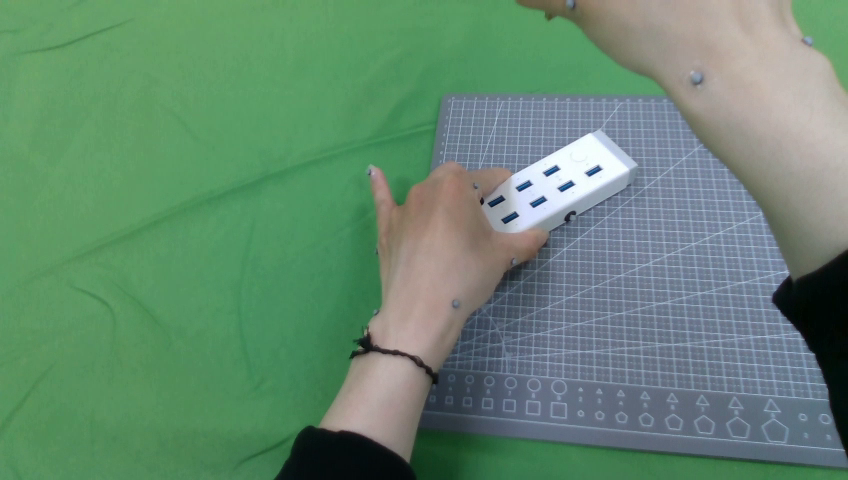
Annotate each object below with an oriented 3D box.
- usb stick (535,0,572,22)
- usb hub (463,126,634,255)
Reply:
[{"bbox_3d":[0.067,-0.140,0.317,0.021,0.059,0.027,-33,71,-3],"label":"usb stick"},{"bbox_3d":[0.094,-0.040,0.460,0.125,0.025,0.049,-30,52,-11],"label":"usb hub"}]
